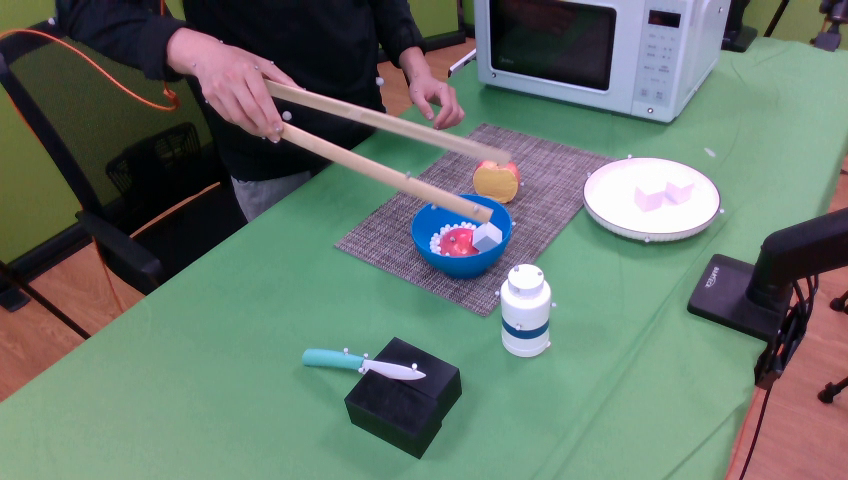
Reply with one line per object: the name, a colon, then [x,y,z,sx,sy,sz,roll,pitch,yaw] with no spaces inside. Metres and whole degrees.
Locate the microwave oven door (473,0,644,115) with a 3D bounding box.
microwave oven door: [0.257,-0.396,1.199,0.353,0.245,0.039,21,48,29]

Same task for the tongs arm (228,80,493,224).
tongs arm: [-0.087,-0.116,0.782,0.384,0.026,0.050,22,51,4]

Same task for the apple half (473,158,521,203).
apple half: [0.127,-0.106,1.030,0.080,0.075,0.053,4,38,19]

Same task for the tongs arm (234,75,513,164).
tongs arm: [-0.066,-0.163,0.826,0.388,0.028,0.028,15,54,-2]

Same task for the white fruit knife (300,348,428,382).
white fruit knife: [-0.080,0.155,0.748,0.206,0.027,0.016,1,20,34]

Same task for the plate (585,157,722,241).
plate: [0.367,-0.063,0.979,0.207,0.039,0.206,-4,40,4]

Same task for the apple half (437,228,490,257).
apple half: [0.056,0.003,0.901,0.081,0.033,0.081,-2,40,2]

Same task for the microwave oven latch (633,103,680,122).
microwave oven latch: [0.444,-0.249,1.157,0.078,0.029,0.030,21,48,30]

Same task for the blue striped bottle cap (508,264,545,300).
blue striped bottle cap: [0.125,0.050,0.735,0.044,0.021,0.044,-6,39,5]

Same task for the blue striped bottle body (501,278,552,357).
blue striped bottle body: [0.129,0.089,0.769,0.063,0.121,0.063,-4,40,4]

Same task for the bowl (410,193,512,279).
bowl: [0.058,0.005,0.905,0.151,0.077,0.150,-4,40,4]

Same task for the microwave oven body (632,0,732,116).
microwave oven body: [0.377,-0.462,1.267,0.438,0.261,0.327,21,48,30]
